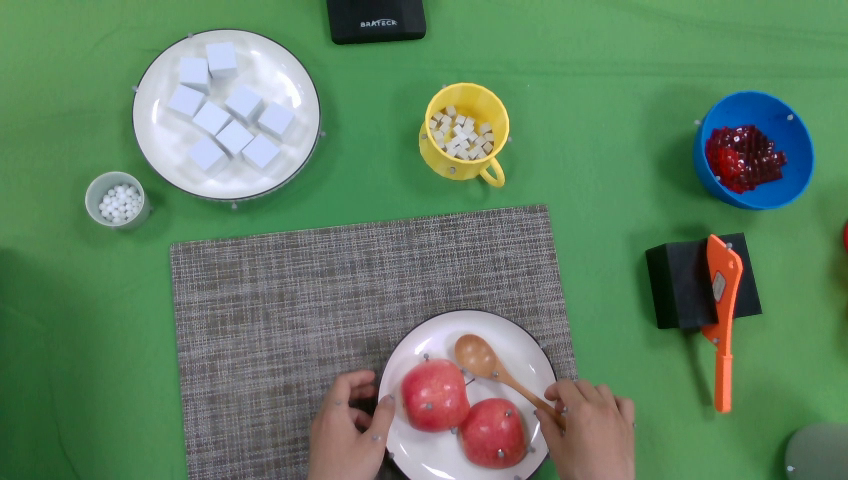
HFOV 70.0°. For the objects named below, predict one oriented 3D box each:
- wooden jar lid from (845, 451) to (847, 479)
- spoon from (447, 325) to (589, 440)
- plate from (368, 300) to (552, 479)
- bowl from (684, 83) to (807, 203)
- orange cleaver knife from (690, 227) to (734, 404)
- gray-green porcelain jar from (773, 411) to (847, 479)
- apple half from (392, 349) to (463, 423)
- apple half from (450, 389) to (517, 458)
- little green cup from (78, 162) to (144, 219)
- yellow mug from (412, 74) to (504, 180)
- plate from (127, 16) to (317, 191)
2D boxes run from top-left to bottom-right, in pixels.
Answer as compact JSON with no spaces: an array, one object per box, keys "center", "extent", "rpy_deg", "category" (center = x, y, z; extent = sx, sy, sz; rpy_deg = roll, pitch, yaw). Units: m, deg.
[{"center":[0.491,0.243,0.638],"extent":[0.108,0.021,0.108],"rpy_deg":[1,83,-9],"category":"wooden jar lid"},{"center":[0.106,0.164,0.684],"extent":[0.193,0.022,0.041],"rpy_deg":[36,68,11],"category":"spoon"},{"center":[0.040,0.173,0.687],"extent":[0.209,0.038,0.208],"rpy_deg":[1,81,-8],"category":"plate"},{"center":[0.390,-0.113,0.768],"extent":[0.152,0.077,0.151],"rpy_deg":[1,81,-8],"category":"bowl"},{"center":[0.340,0.091,0.726],"extent":[0.012,0.076,0.212],"rpy_deg":[-5,105,-5],"category":"orange cleaver knife"},{"center":[0.483,0.255,0.698],"extent":[0.106,0.126,0.105],"rpy_deg":[1,80,-8],"category":"gray-green porcelain jar"},{"center":[0.004,0.162,0.667],"extent":[0.075,0.053,0.080],"rpy_deg":[-10,82,-7],"category":"apple half"},{"center":[0.069,0.208,0.678],"extent":[0.081,0.033,0.081],"rpy_deg":[2,78,-7],"category":"apple half"},{"center":[-0.342,-0.052,0.668],"extent":[0.062,0.038,0.061],"rpy_deg":[1,81,-9],"category":"little green cup"},{"center":[0.048,-0.127,0.726],"extent":[0.100,0.064,0.130],"rpy_deg":[-36,88,-13],"category":"yellow mug"},{"center":[-0.229,-0.155,0.704],"extent":[0.208,0.039,0.207],"rpy_deg":[1,81,-8],"category":"plate"}]
